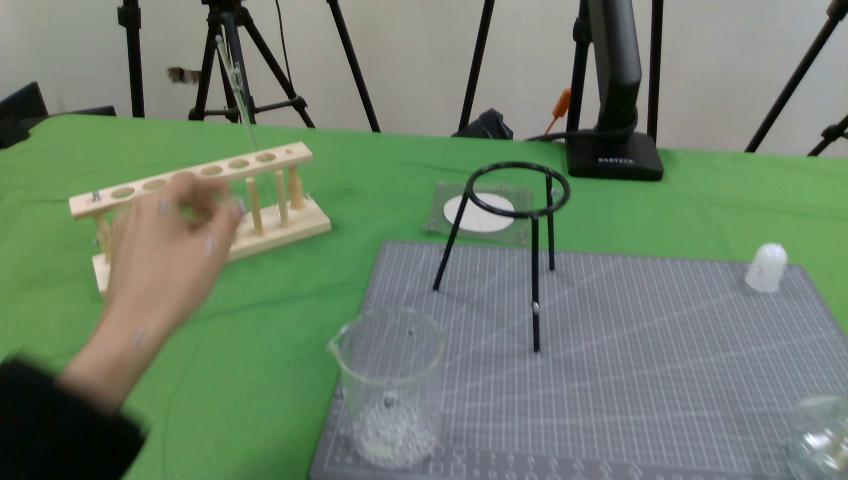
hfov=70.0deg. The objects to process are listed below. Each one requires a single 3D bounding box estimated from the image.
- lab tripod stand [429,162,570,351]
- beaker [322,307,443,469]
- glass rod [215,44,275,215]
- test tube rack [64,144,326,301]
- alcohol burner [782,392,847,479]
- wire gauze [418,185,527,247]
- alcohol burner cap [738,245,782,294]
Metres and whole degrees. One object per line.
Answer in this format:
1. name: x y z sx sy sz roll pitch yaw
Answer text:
1. lab tripod stand: 0.075 0.007 0.554 0.148 0.132 0.147 -1 37 1
2. beaker: -0.028 0.110 0.440 0.084 0.101 0.073 2 36 4
3. glass rod: -0.188 -0.111 0.652 0.008 0.201 0.008 -7 35 5
4. test tube rack: -0.233 -0.025 0.646 0.243 0.086 0.066 -19 40 -24
5. alcohol burner: 0.290 0.124 0.406 0.078 0.120 0.077 0 34 0
6. wire gauze: 0.061 -0.035 0.728 0.125 0.011 0.120 5 35 9
7. alcohol burner cap: 0.338 0.026 0.605 0.034 0.048 0.033 0 36 0
